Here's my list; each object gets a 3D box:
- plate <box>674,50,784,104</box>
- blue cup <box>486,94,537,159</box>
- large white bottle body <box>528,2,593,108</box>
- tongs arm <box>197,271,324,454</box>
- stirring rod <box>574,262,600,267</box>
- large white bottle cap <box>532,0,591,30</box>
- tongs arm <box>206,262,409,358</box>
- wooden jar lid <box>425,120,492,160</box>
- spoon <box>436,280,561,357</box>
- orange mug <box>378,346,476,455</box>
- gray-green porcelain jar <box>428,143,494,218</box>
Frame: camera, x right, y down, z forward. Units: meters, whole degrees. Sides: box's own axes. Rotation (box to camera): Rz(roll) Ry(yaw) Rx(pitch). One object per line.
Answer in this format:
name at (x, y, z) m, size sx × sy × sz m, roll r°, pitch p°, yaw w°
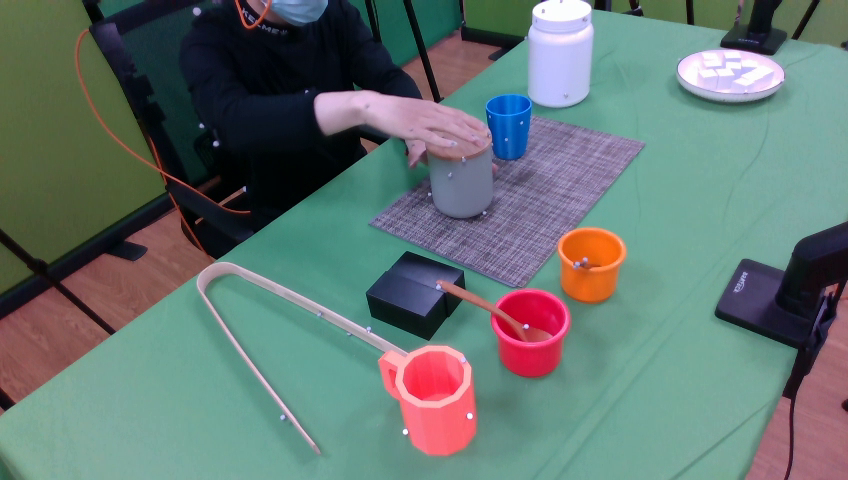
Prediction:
plate at (0.631, -0.336, 1.262) m, size 0.207 × 0.039 × 0.206 m, roll -4°, pitch 41°, yaw 4°
blue cup at (0.160, -0.208, 1.129) m, size 0.092 × 0.100 × 0.092 m, roll -4°, pitch 39°, yaw 4°
large white bottle body at (0.282, -0.386, 1.259) m, size 0.130 × 0.185 × 0.130 m, roll -5°, pitch 41°, yaw 4°
tongs arm at (-0.236, 0.154, 0.831) m, size 0.028 × 0.028 × 0.384 m, roll -37°, pitch 48°, yaw -17°
stirring rod at (0.221, 0.033, 0.816) m, size 0.014 × 0.006 × 0.177 m, roll 7°, pitch 0°, yaw 22°
large white bottle cap at (0.274, -0.450, 1.204) m, size 0.115 × 0.018 × 0.114 m, roll -4°, pitch 41°, yaw 4°
tongs arm at (-0.179, 0.106, 0.870) m, size 0.382 × 0.027 × 0.051 m, roll 23°, pitch 55°, yaw 32°
wooden jar lid at (0.056, -0.156, 0.968) m, size 0.108 × 0.021 × 0.108 m, roll -4°, pitch 43°, yaw 4°
spoon at (0.096, 0.095, 0.757) m, size 0.195 × 0.021 × 0.041 m, roll 34°, pitch 41°, yaw -20°
orange mug at (0.002, 0.179, 0.708) m, size 0.125 × 0.101 × 0.083 m, roll 25°, pitch 50°, yaw 27°
gray-green porcelain jar at (0.063, -0.109, 1.008) m, size 0.106 × 0.127 × 0.105 m, roll -4°, pitch 40°, yaw 4°
